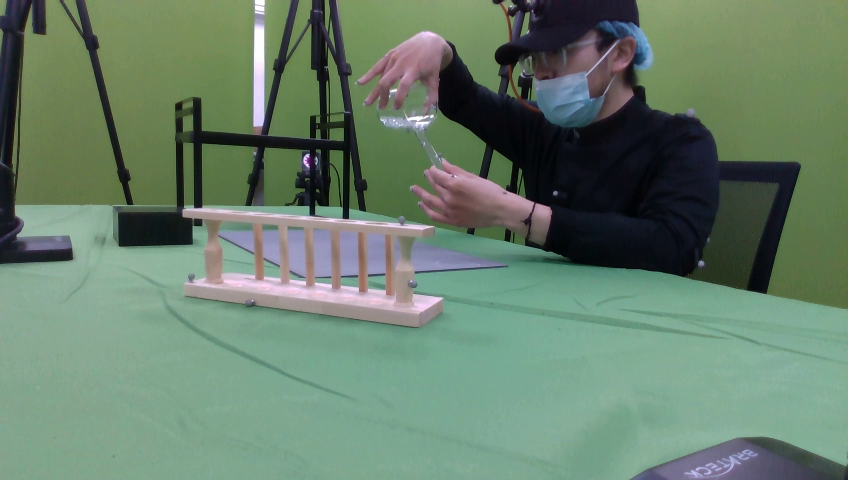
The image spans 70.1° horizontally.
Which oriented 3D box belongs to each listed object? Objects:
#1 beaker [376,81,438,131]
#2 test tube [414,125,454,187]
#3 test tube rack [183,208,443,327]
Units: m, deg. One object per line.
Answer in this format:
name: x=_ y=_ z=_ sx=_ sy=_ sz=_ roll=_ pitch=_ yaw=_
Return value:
beaker: x=-0.034 y=-0.234 z=1.073 sx=0.074 sy=0.084 sz=0.100 roll=4 pitch=4 yaw=-35
test tube: x=0.016 y=-0.140 z=0.996 sx=0.017 sy=0.017 sz=0.150 roll=-2 pitch=47 yaw=-30
test tube rack: x=-0.106 y=0.019 z=0.570 sx=0.241 sy=0.085 sz=0.067 roll=5 pitch=8 yaw=19
